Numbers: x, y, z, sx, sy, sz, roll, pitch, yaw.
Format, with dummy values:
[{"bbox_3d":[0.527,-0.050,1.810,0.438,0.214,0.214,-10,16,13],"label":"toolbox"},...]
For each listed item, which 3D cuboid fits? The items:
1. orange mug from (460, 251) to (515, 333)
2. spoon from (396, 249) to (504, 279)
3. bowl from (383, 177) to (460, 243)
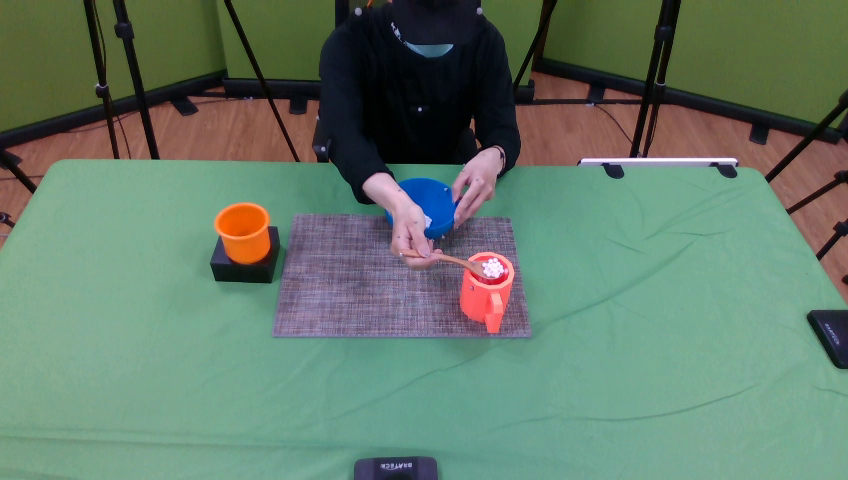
[{"bbox_3d":[0.114,0.095,1.053,0.083,0.101,0.125,-5,42,-8],"label":"orange mug"},{"bbox_3d":[0.046,0.034,1.007,0.194,0.022,0.041,14,45,-22],"label":"spoon"},{"bbox_3d":[-0.006,-0.047,1.197,0.151,0.077,0.150,2,46,-2],"label":"bowl"}]
